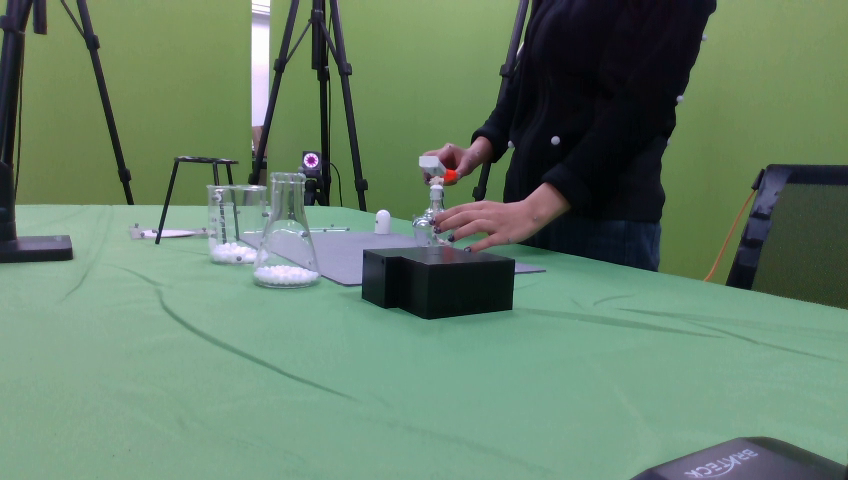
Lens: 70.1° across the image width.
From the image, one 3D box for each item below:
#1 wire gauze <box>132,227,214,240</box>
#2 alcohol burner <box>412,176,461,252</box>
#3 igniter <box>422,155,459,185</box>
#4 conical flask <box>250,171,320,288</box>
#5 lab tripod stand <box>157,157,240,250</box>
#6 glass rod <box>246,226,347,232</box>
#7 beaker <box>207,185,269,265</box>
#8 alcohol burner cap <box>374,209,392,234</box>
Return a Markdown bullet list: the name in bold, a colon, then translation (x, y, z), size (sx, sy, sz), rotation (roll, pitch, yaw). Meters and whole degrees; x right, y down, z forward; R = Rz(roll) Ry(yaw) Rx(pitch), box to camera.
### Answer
- **wire gauze**: translation (-0.425, -0.013, 1.018), size (0.122, 0.011, 0.124), rotation (-1, 6, -28)
- **alcohol burner**: translation (0.020, -0.041, 0.947), size (0.078, 0.119, 0.078), rotation (0, 7, 0)
- **igniter**: translation (0.032, -0.124, 1.092), size (0.057, 0.025, 0.277), rotation (1, -1, 9)
- **conical flask**: translation (-0.150, -0.013, 0.658), size (0.075, 0.122, 0.075), rotation (2, 7, 0)
- **lab tripod stand**: translation (-0.322, -0.057, 0.905), size (0.148, 0.131, 0.148), rotation (4, 7, 0)
- **glass rod**: translation (-0.236, -0.021, 1.140), size (0.201, 0.008, 0.008), rotation (-3, 8, -33)
- **beaker**: translation (-0.244, -0.021, 0.784), size (0.083, 0.100, 0.074), rotation (6, 8, 30)
- **alcohol burner cap**: translation (-0.078, -0.036, 1.148), size (0.034, 0.048, 0.034), rotation (2, 7, 0)
